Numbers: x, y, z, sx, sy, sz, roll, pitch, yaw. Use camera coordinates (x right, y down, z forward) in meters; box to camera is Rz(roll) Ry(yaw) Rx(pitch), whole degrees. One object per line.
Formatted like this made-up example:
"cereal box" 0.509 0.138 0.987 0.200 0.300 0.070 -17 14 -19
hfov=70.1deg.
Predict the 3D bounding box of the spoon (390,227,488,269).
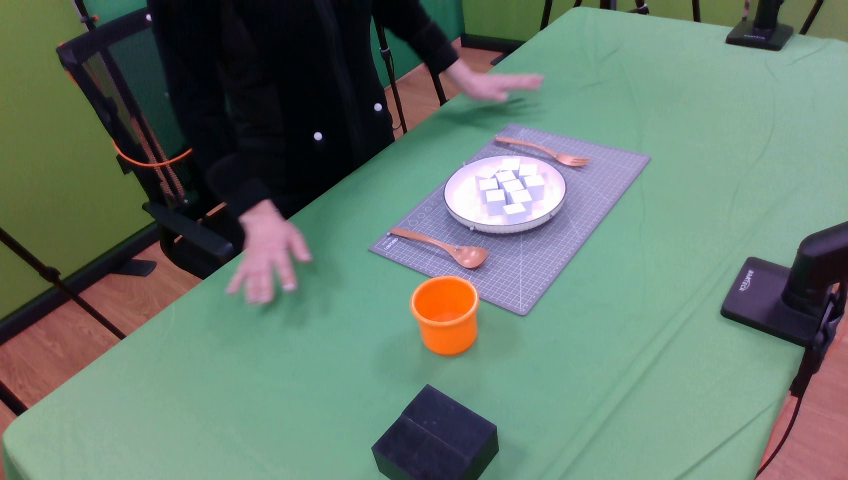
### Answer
"spoon" 0.020 0.006 0.970 0.192 0.022 0.041 21 68 31

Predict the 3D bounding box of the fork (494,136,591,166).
"fork" 0.218 -0.171 1.144 0.205 0.019 0.028 24 55 31

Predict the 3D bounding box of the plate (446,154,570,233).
"plate" 0.142 -0.076 1.032 0.207 0.039 0.206 -5 40 5
